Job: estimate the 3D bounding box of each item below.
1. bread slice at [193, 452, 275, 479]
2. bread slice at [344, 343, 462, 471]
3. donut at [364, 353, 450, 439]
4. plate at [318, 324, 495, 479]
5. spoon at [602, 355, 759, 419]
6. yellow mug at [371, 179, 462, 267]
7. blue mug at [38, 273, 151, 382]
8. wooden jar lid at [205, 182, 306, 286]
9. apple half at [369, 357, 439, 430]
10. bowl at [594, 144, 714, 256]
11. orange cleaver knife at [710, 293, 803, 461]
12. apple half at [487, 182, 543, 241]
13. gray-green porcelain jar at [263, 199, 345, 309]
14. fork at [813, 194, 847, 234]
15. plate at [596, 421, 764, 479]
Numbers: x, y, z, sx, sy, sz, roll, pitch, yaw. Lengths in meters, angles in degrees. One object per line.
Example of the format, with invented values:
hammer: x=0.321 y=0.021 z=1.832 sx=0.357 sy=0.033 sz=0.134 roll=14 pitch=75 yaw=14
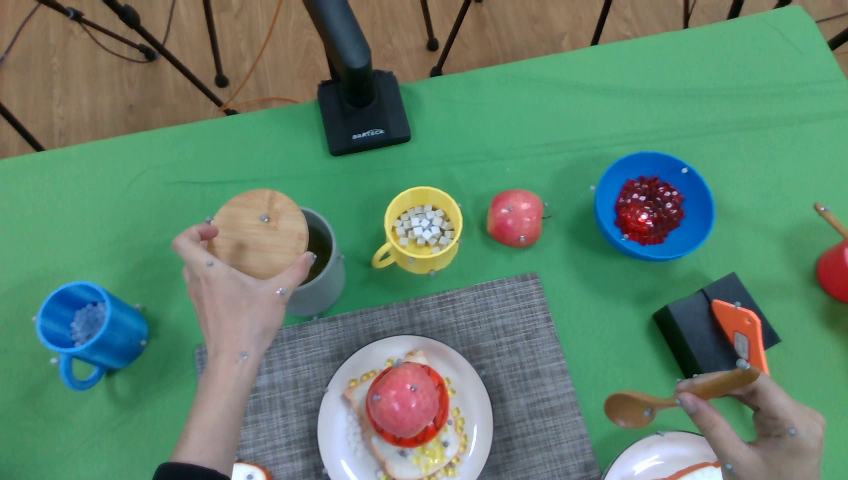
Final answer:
bread slice: x=-0.220 y=0.311 z=0.690 sx=0.105 sy=0.019 sz=0.130 roll=-5 pitch=71 yaw=-4
bread slice: x=-0.017 y=0.203 z=0.723 sx=0.107 sy=0.018 sz=0.133 roll=-29 pitch=73 yaw=-10
donut: x=-0.019 y=0.180 z=0.701 sx=0.099 sy=0.048 sz=0.098 roll=0 pitch=71 yaw=-1
plate: x=-0.021 y=0.206 z=0.721 sx=0.208 sy=0.039 sz=0.206 roll=1 pitch=70 yaw=-1
spoon: x=0.196 y=0.119 z=0.480 sx=0.041 sy=0.194 sz=0.021 roll=40 pitch=67 yaw=6
yellow mug: x=-0.014 y=-0.012 z=0.790 sx=0.131 sy=0.064 sz=0.099 roll=-35 pitch=75 yaw=-12
blue mug: x=-0.390 y=0.109 z=0.714 sx=0.082 sy=0.106 sz=0.116 roll=8 pitch=70 yaw=1
wooden jar lid: x=-0.170 y=-0.005 z=0.620 sx=0.108 sy=0.021 sz=0.108 roll=-2 pitch=79 yaw=11
apple half: x=-0.022 y=0.168 z=0.666 sx=0.081 sy=0.033 sz=0.080 roll=-2 pitch=68 yaw=5
bowl: x=0.291 y=-0.042 z=0.801 sx=0.151 sy=0.077 sz=0.150 roll=0 pitch=71 yaw=-1
orange cleaver knife: x=0.397 y=0.162 z=0.728 sx=0.012 sy=0.077 sz=0.211 roll=-22 pitch=94 yaw=-16
apple half: x=0.123 y=-0.044 z=0.812 sx=0.074 sy=0.054 sz=0.080 roll=9 pitch=70 yaw=5
gray-green porcelain jar: x=-0.153 y=0.023 z=0.741 sx=0.106 sy=0.127 sz=0.105 roll=1 pitch=69 yaw=-1
fork: x=0.530 y=-0.003 z=0.756 sx=0.209 sy=0.018 sz=0.028 roll=33 pitch=65 yaw=-34
plate: x=0.294 y=0.316 z=0.693 sx=0.209 sy=0.038 sz=0.207 roll=0 pitch=70 yaw=-1
